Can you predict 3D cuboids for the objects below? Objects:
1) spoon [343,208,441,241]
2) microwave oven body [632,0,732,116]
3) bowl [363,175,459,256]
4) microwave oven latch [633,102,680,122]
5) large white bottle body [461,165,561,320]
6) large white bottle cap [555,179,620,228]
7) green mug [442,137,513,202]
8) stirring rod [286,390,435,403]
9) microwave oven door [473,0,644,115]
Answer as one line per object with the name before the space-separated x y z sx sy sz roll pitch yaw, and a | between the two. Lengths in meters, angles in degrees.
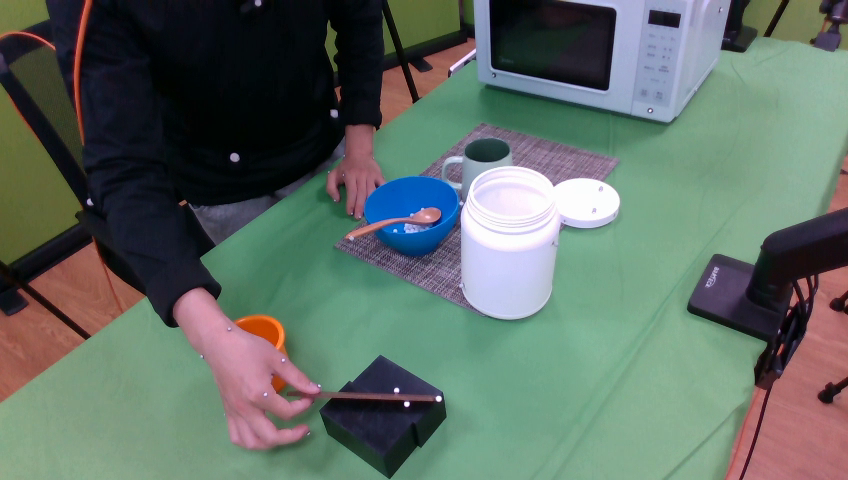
spoon | -0.046 -0.025 0.912 0.041 0.021 0.195 26 27 37
microwave oven body | 0.377 -0.462 1.267 0.438 0.261 0.327 21 48 30
bowl | -0.016 -0.028 0.955 0.151 0.077 0.150 -4 40 3
microwave oven latch | 0.444 -0.249 1.157 0.078 0.029 0.030 21 49 30
large white bottle body | 0.115 0.004 0.815 0.130 0.185 0.130 -2 43 2
large white bottle cap | 0.265 -0.062 1.001 0.115 0.018 0.114 -3 41 3
green mug | 0.091 -0.108 1.012 0.125 0.105 0.092 2 42 11
stirring rod | -0.075 0.180 0.698 0.176 0.006 0.014 0 7 9
microwave oven door | 0.257 -0.396 1.199 0.353 0.245 0.039 21 48 29
